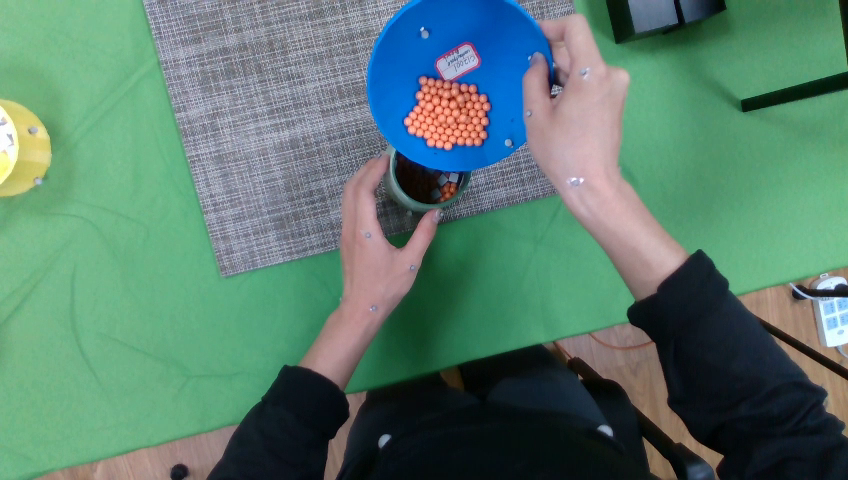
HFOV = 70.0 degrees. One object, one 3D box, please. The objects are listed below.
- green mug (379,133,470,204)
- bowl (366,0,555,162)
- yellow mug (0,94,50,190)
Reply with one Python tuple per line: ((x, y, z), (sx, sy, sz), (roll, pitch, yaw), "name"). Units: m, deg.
((0.001, -0.099, 0.624), (0.093, 0.104, 0.125), (2, 95, -6), "green mug")
((0.027, -0.150, 0.510), (0.151, 0.076, 0.152), (-2, 124, -3), "bowl")
((-0.443, -0.083, 0.597), (0.100, 0.064, 0.131), (18, 94, -8), "yellow mug")
